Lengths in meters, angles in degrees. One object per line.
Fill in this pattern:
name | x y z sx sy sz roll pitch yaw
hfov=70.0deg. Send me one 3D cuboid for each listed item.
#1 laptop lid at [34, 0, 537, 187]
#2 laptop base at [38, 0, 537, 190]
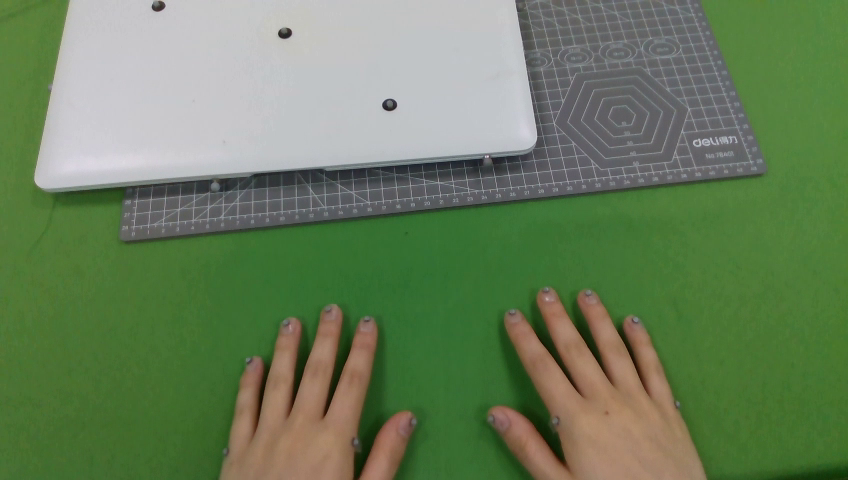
laptop lid | -0.103 -0.156 0.460 0.357 0.013 0.240 -3 68 0
laptop base | -0.103 -0.153 0.472 0.354 0.023 0.233 -5 69 0
